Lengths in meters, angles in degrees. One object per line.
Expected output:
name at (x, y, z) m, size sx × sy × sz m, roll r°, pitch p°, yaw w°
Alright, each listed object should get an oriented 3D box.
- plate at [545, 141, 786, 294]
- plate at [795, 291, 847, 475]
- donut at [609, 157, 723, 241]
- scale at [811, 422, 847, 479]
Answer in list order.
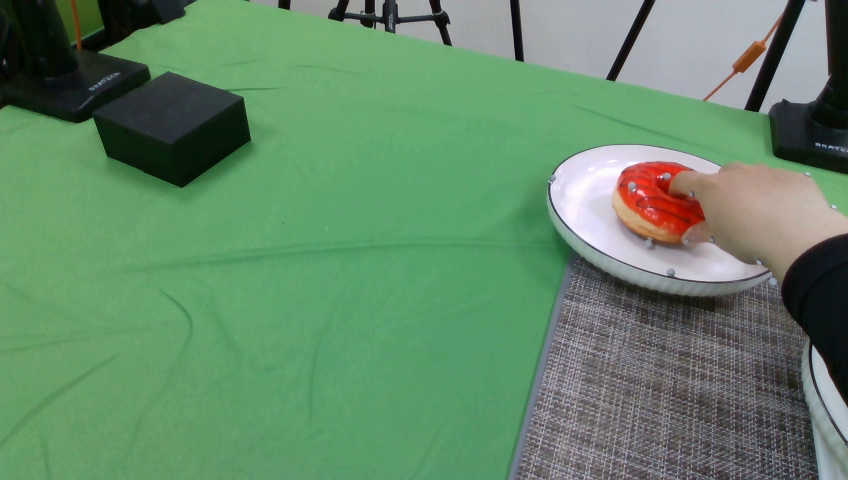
plate at (0.212, -0.022, 0.553) m, size 0.209 × 0.038 × 0.207 m, roll 3°, pitch 40°, yaw -2°
plate at (0.333, 0.115, 0.370) m, size 0.208 × 0.039 × 0.205 m, roll 3°, pitch 43°, yaw -2°
donut at (0.218, -0.037, 0.547) m, size 0.099 × 0.048 × 0.098 m, roll 4°, pitch 41°, yaw -3°
scale at (0.324, 0.154, 0.376) m, size 0.148 × 0.032 × 0.200 m, roll 16°, pitch 44°, yaw 12°
